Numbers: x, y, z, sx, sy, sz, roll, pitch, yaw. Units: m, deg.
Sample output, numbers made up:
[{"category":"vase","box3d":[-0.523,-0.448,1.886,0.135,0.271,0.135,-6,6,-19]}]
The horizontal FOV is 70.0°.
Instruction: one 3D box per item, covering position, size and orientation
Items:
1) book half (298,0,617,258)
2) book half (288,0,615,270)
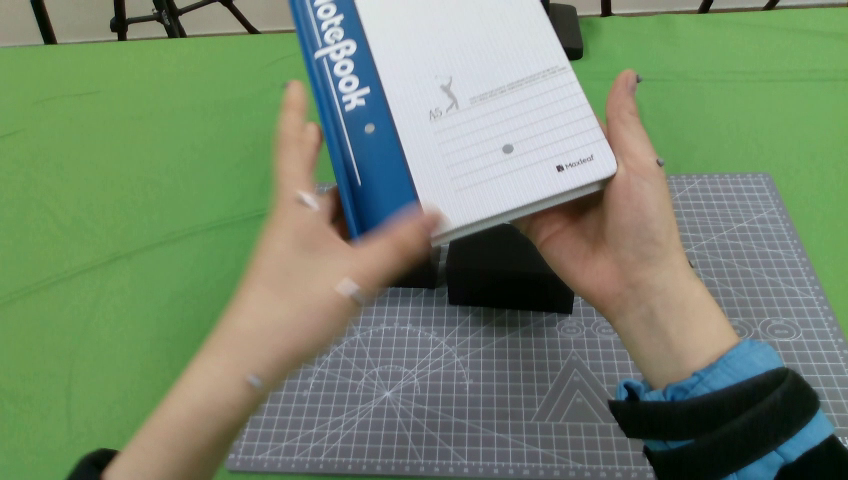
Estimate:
[{"category":"book half","box3d":[0.007,-0.104,0.359,0.143,0.007,0.208,-19,67,4]},{"category":"book half","box3d":[0.006,-0.099,0.364,0.148,0.016,0.208,-18,67,3]}]
